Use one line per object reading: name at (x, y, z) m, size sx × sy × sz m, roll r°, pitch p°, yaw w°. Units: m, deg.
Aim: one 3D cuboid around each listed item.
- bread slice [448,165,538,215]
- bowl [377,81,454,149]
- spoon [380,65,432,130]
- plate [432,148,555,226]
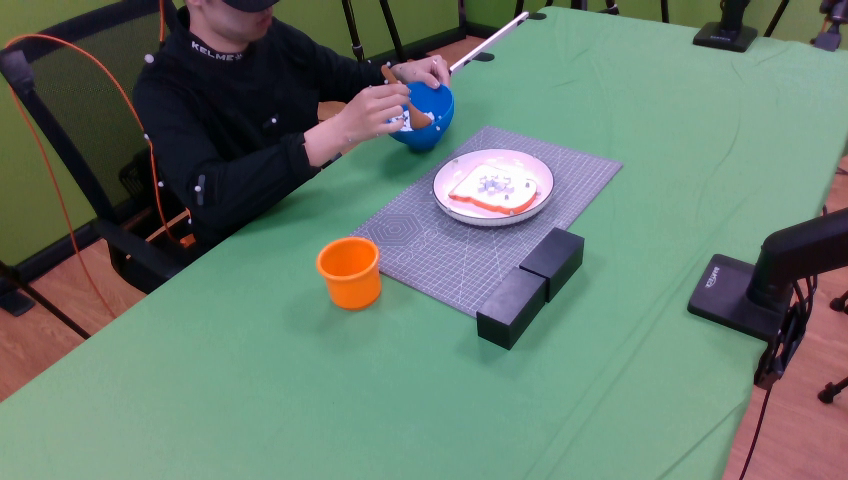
bread slice at (0.126, -0.085, 1.038) m, size 0.133 × 0.018 × 0.107 m, roll 16°, pitch 45°, yaw 27°
bowl at (-0.008, -0.229, 1.168) m, size 0.151 × 0.077 × 0.150 m, roll -8°, pitch 49°, yaw 10°
spoon at (-0.033, -0.239, 1.037) m, size 0.041 × 0.195 × 0.021 m, roll -23°, pitch 59°, yaw 14°
plate at (0.119, -0.087, 1.037) m, size 0.209 × 0.038 × 0.208 m, roll -4°, pitch 40°, yaw 4°
